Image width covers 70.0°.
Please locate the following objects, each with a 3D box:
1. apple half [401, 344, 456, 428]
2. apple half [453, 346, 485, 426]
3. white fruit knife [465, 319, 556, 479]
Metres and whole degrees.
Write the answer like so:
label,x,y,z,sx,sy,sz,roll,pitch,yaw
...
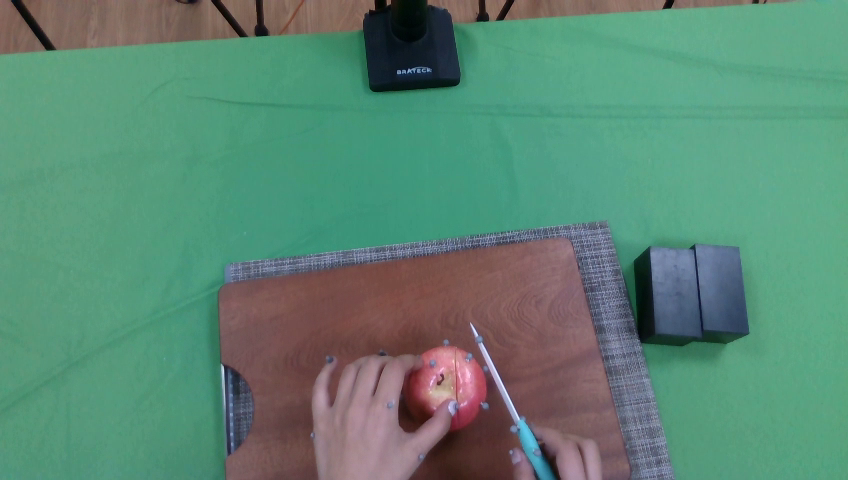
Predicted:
label,x,y,z,sx,sy,sz,roll,pitch,yaw
apple half,0.004,0.145,0.599,0.053,0.075,0.080,-3,74,2
apple half,0.043,0.144,0.599,0.033,0.082,0.080,-3,69,1
white fruit knife,0.082,0.162,0.531,0.016,0.027,0.207,-27,91,-13
